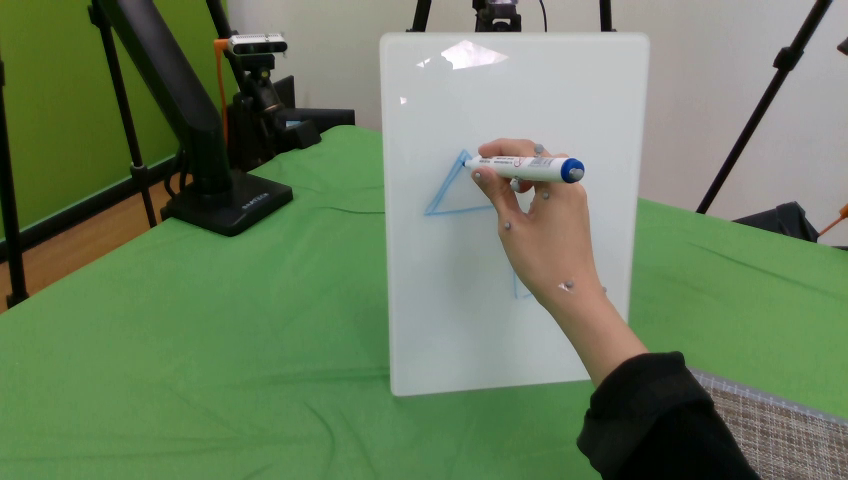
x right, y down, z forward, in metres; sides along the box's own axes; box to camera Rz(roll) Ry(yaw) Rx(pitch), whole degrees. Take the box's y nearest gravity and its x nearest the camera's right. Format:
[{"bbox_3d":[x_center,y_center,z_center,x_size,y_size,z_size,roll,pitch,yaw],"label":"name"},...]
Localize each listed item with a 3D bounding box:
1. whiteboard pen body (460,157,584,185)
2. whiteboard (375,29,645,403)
[{"bbox_3d":[0.061,-0.049,0.422,0.017,0.017,0.139,-15,14,-24],"label":"whiteboard pen body"},{"bbox_3d":[0.064,-0.029,0.567,0.217,0.306,0.143,-3,15,-8],"label":"whiteboard"}]
